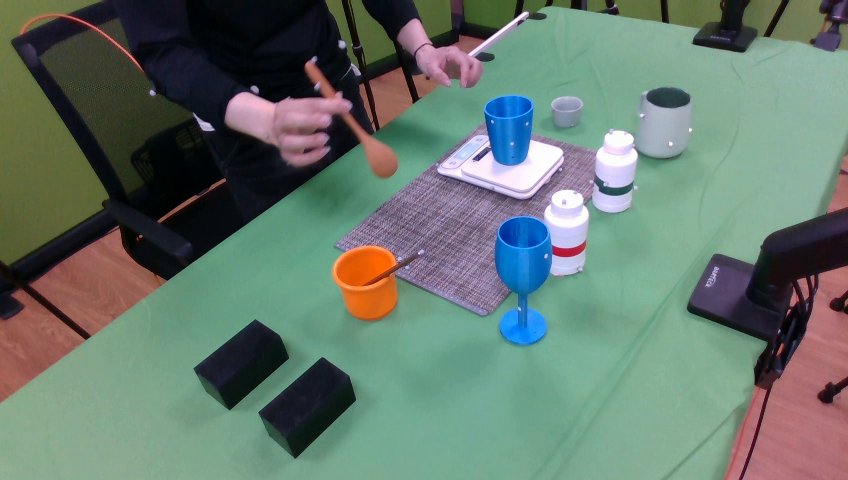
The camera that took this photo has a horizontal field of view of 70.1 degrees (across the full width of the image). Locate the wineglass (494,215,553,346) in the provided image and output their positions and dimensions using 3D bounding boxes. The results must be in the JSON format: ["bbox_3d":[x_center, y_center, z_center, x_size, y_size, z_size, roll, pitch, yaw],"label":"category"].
[{"bbox_3d":[0.127,0.055,0.770,0.074,0.173,0.073,-4,40,4],"label":"wineglass"}]

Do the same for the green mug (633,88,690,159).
[{"bbox_3d":[0.423,-0.217,1.099,0.093,0.105,0.124,-16,41,-10],"label":"green mug"}]

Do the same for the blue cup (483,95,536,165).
[{"bbox_3d":[0.148,-0.188,1.053,0.092,0.100,0.092,-5,39,5],"label":"blue cup"}]

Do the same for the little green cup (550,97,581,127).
[{"bbox_3d":[0.284,-0.255,1.213,0.061,0.039,0.061,-4,41,4],"label":"little green cup"}]

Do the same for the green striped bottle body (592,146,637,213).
[{"bbox_3d":[0.307,-0.108,0.976,0.063,0.120,0.063,-4,41,4],"label":"green striped bottle body"}]

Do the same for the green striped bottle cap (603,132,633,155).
[{"bbox_3d":[0.302,-0.149,0.938,0.044,0.020,0.044,-3,39,3],"label":"green striped bottle cap"}]

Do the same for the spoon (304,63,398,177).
[{"bbox_3d":[-0.098,-0.157,0.812,0.041,0.195,0.021,-41,29,0],"label":"spoon"}]

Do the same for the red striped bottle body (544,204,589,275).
[{"bbox_3d":[0.206,-0.011,0.877,0.063,0.120,0.062,-5,41,4],"label":"red striped bottle body"}]

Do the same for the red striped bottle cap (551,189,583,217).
[{"bbox_3d":[0.200,-0.052,0.843,0.044,0.018,0.044,-2,42,2],"label":"red striped bottle cap"}]

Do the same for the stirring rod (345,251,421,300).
[{"bbox_3d":[-0.060,0.051,0.829,0.175,0.006,0.014,-32,18,44],"label":"stirring rod"}]

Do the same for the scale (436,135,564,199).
[{"bbox_3d":[0.137,-0.141,1.101,0.199,0.032,0.149,22,48,30],"label":"scale"}]
